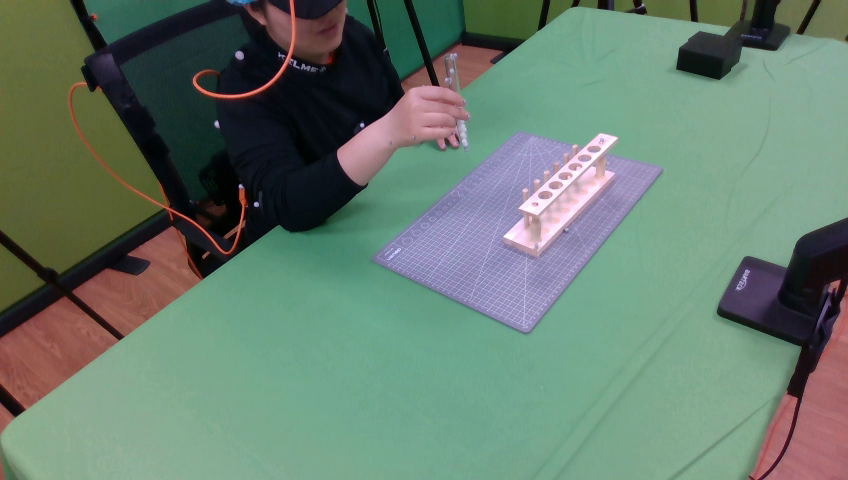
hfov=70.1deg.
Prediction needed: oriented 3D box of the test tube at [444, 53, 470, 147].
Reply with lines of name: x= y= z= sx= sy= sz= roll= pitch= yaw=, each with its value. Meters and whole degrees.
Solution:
test tube: x=0.051 y=-0.208 z=0.916 sx=0.017 sy=0.151 sz=0.017 roll=-9 pitch=36 yaw=7

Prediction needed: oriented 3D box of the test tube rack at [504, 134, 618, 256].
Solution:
test tube rack: x=0.225 y=-0.083 z=0.985 sx=0.066 sy=0.085 sz=0.243 roll=25 pitch=50 yaw=34
